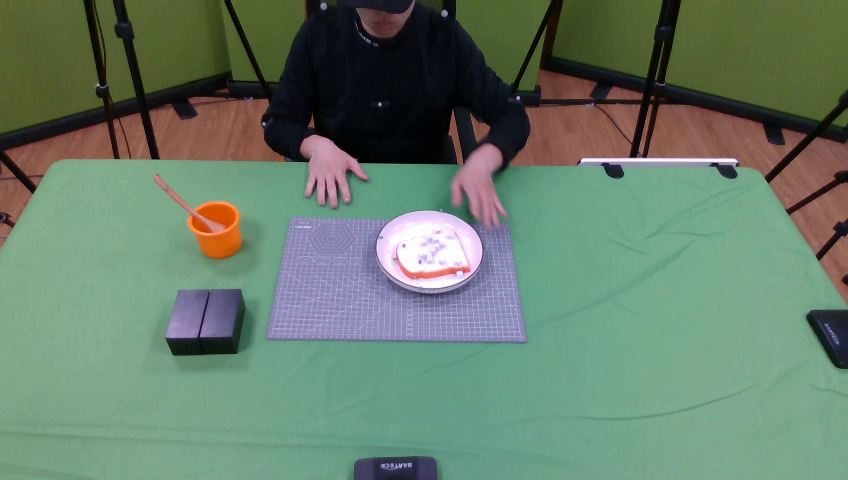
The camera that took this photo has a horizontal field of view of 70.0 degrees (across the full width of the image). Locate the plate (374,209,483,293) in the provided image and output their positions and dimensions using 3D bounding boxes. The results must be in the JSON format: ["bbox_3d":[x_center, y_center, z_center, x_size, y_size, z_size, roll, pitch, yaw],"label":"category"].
[{"bbox_3d":[0.009,0.024,1.160,0.209,0.038,0.208,2,46,-2],"label":"plate"}]

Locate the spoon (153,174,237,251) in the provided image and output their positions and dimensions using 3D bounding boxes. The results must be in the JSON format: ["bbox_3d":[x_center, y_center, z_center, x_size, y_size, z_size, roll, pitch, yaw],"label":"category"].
[{"bbox_3d":[-0.422,-0.050,1.117,0.194,0.021,0.041,43,43,-19],"label":"spoon"}]

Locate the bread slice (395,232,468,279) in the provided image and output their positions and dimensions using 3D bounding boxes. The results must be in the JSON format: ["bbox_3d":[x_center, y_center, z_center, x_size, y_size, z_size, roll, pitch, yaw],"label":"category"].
[{"bbox_3d":[0.011,0.030,1.158,0.132,0.019,0.104,-8,47,-14],"label":"bread slice"}]
